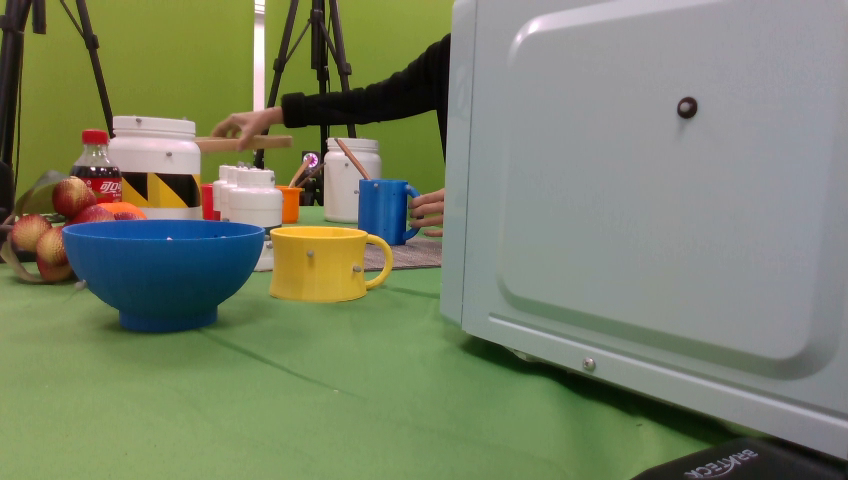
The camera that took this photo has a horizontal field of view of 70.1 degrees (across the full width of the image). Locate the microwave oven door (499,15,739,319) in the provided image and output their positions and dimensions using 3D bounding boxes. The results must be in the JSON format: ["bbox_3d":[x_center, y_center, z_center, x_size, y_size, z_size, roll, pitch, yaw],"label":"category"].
[{"bbox_3d":[0.216,-0.065,0.602,0.358,0.243,0.039,-4,11,-41],"label":"microwave oven door"}]

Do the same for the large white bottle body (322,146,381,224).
[{"bbox_3d":[-0.163,-0.134,1.368,0.131,0.184,0.130,2,7,0],"label":"large white bottle body"}]

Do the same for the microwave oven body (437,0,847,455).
[{"bbox_3d":[0.279,-0.040,0.464,0.444,0.260,0.324,-3,9,-41],"label":"microwave oven body"}]

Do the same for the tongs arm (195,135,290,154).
[{"bbox_3d":[-0.443,-0.215,1.370,0.050,0.026,0.386,9,16,35],"label":"tongs arm"}]

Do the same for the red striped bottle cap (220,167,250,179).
[{"bbox_3d":[-0.281,-0.100,0.901,0.044,0.017,0.044,-1,5,0],"label":"red striped bottle cap"}]

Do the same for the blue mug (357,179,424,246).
[{"bbox_3d":[-0.055,-0.046,1.005,0.116,0.106,0.082,5,8,20],"label":"blue mug"}]

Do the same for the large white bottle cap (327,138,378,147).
[{"bbox_3d":[-0.160,-0.218,1.357,0.115,0.018,0.115,2,8,0],"label":"large white bottle cap"}]

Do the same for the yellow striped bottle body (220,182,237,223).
[{"bbox_3d":[-0.246,-0.036,0.825,0.063,0.120,0.063,3,8,0],"label":"yellow striped bottle body"}]

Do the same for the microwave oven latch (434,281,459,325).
[{"bbox_3d":[0.044,0.045,0.470,0.079,0.029,0.030,-2,8,-39],"label":"microwave oven latch"}]

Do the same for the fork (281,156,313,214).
[{"bbox_3d":[-0.289,-0.116,1.320,0.028,0.019,0.207,-1,49,26],"label":"fork"}]

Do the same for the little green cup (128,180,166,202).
[{"bbox_3d":[-0.485,-0.087,1.062,0.061,0.038,0.061,0,6,0],"label":"little green cup"}]

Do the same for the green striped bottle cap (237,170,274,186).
[{"bbox_3d":[-0.205,-0.075,0.737,0.044,0.020,0.044,2,4,0],"label":"green striped bottle cap"}]

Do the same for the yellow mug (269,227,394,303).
[{"bbox_3d":[-0.094,0.023,0.629,0.131,0.064,0.099,0,7,-22],"label":"yellow mug"}]

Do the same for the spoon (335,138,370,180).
[{"bbox_3d":[-0.095,-0.093,1.019,0.021,0.193,0.042,-32,-4,21],"label":"spoon"}]

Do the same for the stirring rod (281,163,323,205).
[{"bbox_3d":[-0.278,-0.105,1.294,0.176,0.006,0.014,-47,24,-18],"label":"stirring rod"}]

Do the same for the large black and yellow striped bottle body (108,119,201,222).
[{"bbox_3d":[-0.412,-0.088,0.930,0.131,0.184,0.130,3,7,0],"label":"large black and yellow striped bottle body"}]

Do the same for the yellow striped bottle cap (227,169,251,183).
[{"bbox_3d":[-0.243,-0.087,0.818,0.044,0.018,0.044,3,6,0],"label":"yellow striped bottle cap"}]

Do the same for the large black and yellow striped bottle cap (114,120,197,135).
[{"bbox_3d":[-0.407,-0.171,0.920,0.115,0.019,0.115,2,9,0],"label":"large black and yellow striped bottle cap"}]

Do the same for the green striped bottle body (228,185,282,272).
[{"bbox_3d":[-0.208,-0.023,0.745,0.063,0.119,0.063,3,7,0],"label":"green striped bottle body"}]

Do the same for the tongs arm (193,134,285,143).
[{"bbox_3d":[-0.479,-0.221,1.394,0.028,0.028,0.389,5,14,37],"label":"tongs arm"}]

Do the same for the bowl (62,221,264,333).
[{"bbox_3d":[-0.209,0.029,0.496,0.151,0.077,0.151,2,7,0],"label":"bowl"}]

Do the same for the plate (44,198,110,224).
[{"bbox_3d":[-0.617,-0.056,1.179,0.209,0.038,0.209,3,7,0],"label":"plate"}]

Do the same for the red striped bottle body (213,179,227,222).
[{"bbox_3d":[-0.284,-0.048,0.909,0.063,0.119,0.063,3,10,0],"label":"red striped bottle body"}]
